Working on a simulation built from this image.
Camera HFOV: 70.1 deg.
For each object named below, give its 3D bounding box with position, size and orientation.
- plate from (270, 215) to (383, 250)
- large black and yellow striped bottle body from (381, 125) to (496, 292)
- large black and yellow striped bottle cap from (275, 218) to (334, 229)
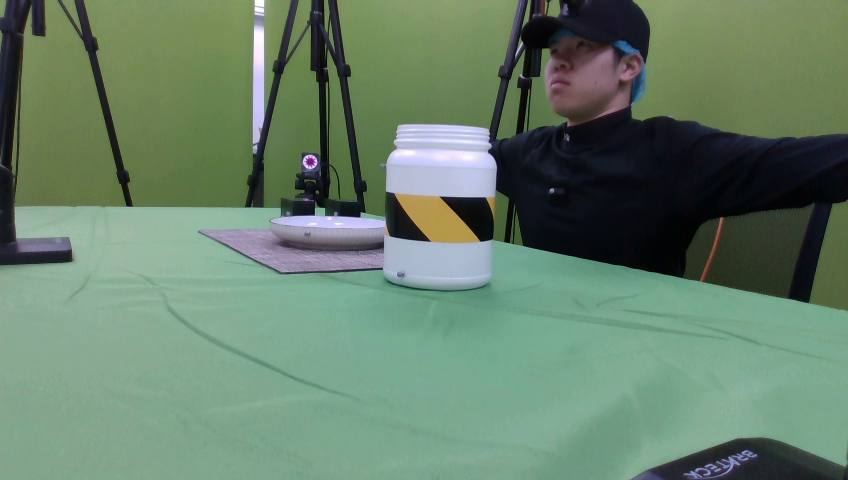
[{"bbox_3d":[-0.145,-0.013,0.991,0.208,0.039,0.207,2,7,0],"label":"plate"},{"bbox_3d":[0.017,-0.040,0.715,0.131,0.184,0.130,3,7,0],"label":"large black and yellow striped bottle body"},{"bbox_3d":[-0.236,-0.033,1.197,0.115,0.019,0.115,2,3,0],"label":"large black and yellow striped bottle cap"}]
